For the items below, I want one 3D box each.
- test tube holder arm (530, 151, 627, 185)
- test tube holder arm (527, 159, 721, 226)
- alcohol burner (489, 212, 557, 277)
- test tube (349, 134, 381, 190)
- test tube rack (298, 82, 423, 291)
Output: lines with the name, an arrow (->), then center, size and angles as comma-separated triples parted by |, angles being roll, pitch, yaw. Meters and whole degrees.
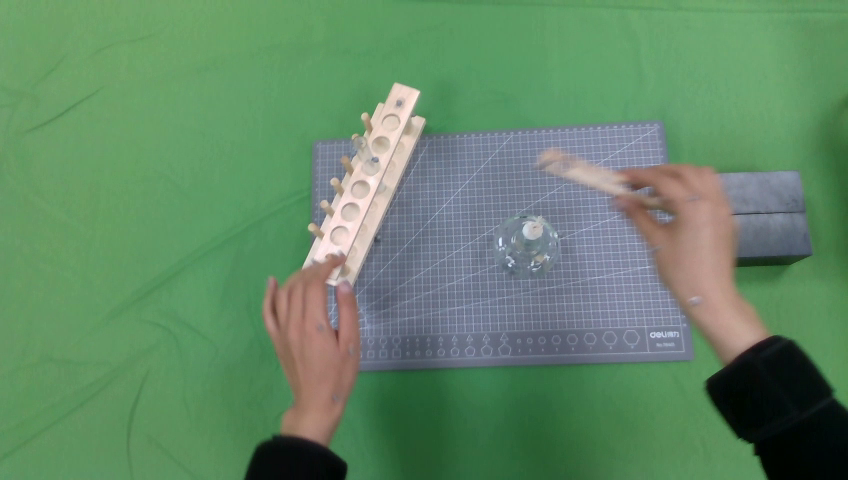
test tube holder arm -> 0.138, -0.061, 0.541 | 0.088, 0.015, 0.010 | 18, 84, -2
test tube holder arm -> 0.179, -0.042, 0.542 | 0.178, 0.015, 0.013 | 18, 84, -2
alcohol burner -> 0.114, 0.001, 0.684 | 0.078, 0.120, 0.077 | -1, 74, 2
test tube -> -0.064, -0.084, 0.680 | 0.017, 0.151, 0.017 | -1, 77, 3
test tube rack -> -0.081, -0.068, 0.729 | 0.066, 0.085, 0.241 | 21, 78, 10
